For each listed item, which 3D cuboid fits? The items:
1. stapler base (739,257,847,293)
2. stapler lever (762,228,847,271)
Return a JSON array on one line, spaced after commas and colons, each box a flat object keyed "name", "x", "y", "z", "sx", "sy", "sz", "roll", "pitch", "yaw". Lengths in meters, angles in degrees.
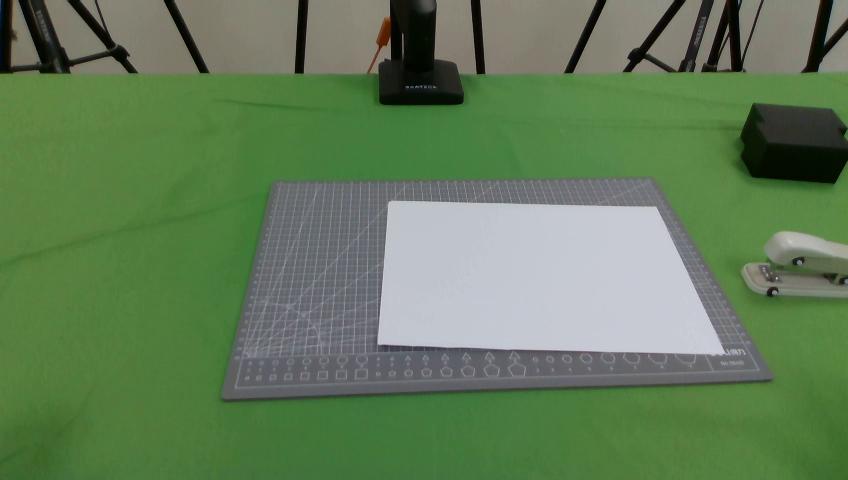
[{"name": "stapler base", "x": 0.379, "y": 0.029, "z": 0.591, "sx": 0.131, "sy": 0.024, "sz": 0.041, "roll": 3, "pitch": 44, "yaw": -2}, {"name": "stapler lever", "x": 0.382, "y": 0.011, "z": 0.575, "sx": 0.118, "sy": 0.040, "sz": 0.026, "roll": 2, "pitch": 44, "yaw": -1}]
